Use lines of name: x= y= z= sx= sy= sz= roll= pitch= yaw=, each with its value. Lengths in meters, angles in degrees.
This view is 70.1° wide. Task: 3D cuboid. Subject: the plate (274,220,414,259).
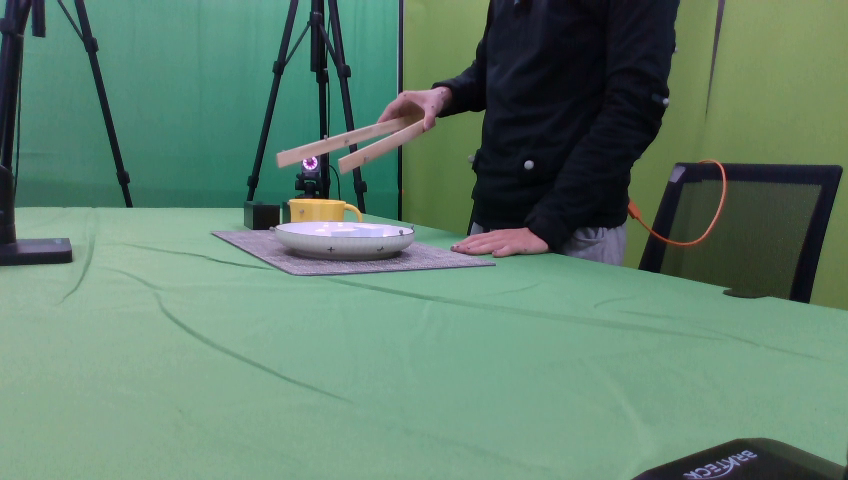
plate: x=-0.118 y=-0.001 z=0.902 sx=0.208 sy=0.039 sz=0.207 roll=2 pitch=7 yaw=0

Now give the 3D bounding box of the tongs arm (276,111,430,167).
tongs arm: x=-0.118 y=-0.199 z=1.154 sx=0.050 sy=0.026 sz=0.386 roll=8 pitch=25 yaw=36

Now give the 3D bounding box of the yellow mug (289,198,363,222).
yellow mug: x=-0.174 y=-0.039 z=1.071 sx=0.131 sy=0.064 sz=0.100 roll=2 pitch=7 yaw=0

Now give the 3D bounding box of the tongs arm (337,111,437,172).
tongs arm: x=-0.055 y=-0.190 z=1.115 sx=0.028 sy=0.028 sz=0.388 roll=-1 pitch=21 yaw=27
